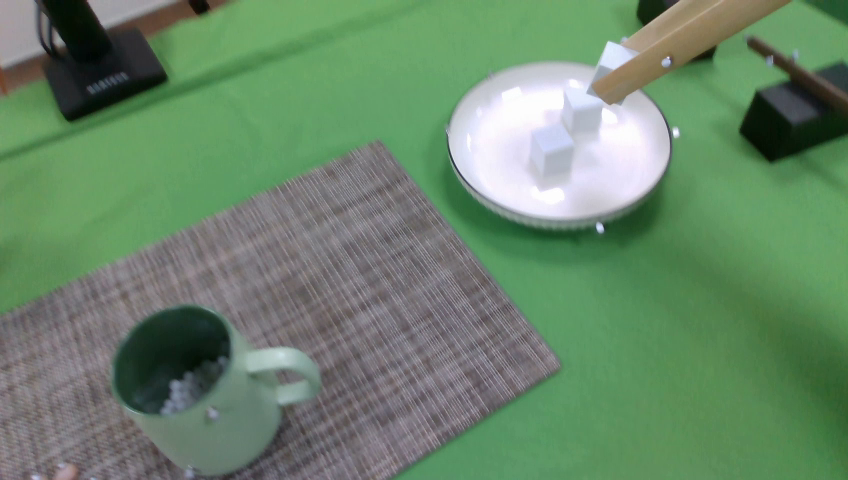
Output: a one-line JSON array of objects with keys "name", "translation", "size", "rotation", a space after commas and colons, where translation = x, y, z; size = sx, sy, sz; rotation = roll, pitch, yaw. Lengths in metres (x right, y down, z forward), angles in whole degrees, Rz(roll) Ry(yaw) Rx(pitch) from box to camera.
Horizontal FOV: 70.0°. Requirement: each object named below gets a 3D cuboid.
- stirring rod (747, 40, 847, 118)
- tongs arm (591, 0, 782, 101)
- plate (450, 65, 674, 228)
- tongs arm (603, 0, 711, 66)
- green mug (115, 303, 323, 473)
[{"name": "stirring rod", "translation": [0.363, -0.134, 0.551], "size": [0.006, 0.014, 0.174], "rotation": [-24, 55, -17]}, {"name": "tongs arm", "translation": [0.237, -0.174, 0.331], "size": [0.028, 0.387, 0.028], "rotation": [43, 58, -12]}, {"name": "plate", "translation": [0.130, -0.090, 0.588], "size": [0.207, 0.039, 0.205], "rotation": [-2, 54, 3]}, {"name": "tongs arm", "translation": [0.248, -0.191, 0.343], "size": [0.026, 0.384, 0.050], "rotation": [40, 55, -13]}, {"name": "green mug", "translation": [-0.134, 0.101, 0.422], "size": [0.125, 0.106, 0.091], "rotation": [-9, 53, -2]}]
